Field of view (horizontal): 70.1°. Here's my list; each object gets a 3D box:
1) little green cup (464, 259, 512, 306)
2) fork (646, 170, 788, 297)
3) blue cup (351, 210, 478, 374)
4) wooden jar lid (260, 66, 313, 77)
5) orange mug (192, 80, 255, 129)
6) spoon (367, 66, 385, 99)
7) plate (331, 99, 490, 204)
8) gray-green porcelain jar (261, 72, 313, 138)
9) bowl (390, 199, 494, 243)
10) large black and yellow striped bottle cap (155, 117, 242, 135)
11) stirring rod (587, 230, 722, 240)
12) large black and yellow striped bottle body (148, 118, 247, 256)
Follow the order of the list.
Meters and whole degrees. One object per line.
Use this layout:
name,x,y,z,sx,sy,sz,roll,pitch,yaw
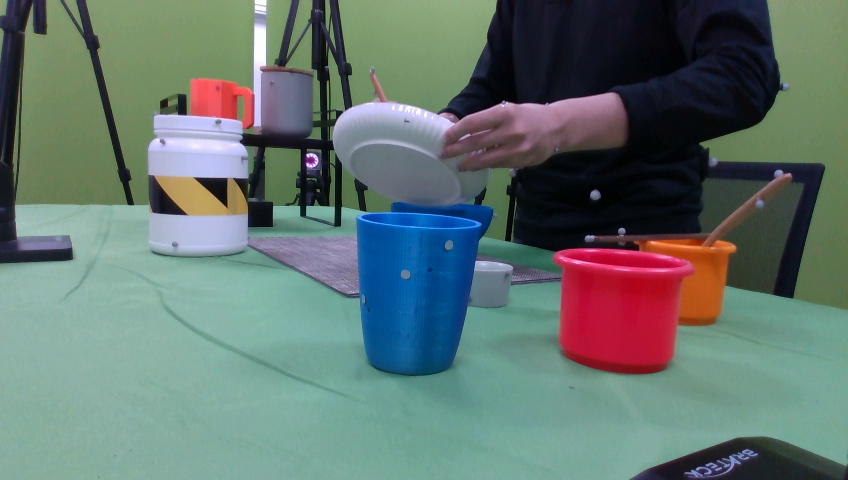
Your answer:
little green cup,0.057,0.043,0.611,0.061,0.038,0.061,3,8,0
fork,0.256,0.004,0.543,0.028,0.018,0.207,3,-36,-9
blue cup,-0.009,0.034,0.414,0.093,0.100,0.092,4,8,0
wooden jar lid,-0.283,-0.339,1.244,0.108,0.020,0.108,6,9,-1
orange mug,-0.389,-0.257,1.172,0.126,0.100,0.083,-1,6,9
spoon,-0.051,-0.162,0.865,0.021,0.193,0.041,-13,-12,-2
plate,-0.022,-0.098,0.768,0.209,0.038,0.209,14,-22,6
gray-green porcelain jar,-0.284,-0.276,1.253,0.106,0.126,0.106,2,8,0
bowl,0.024,-0.016,0.874,0.151,0.077,0.151,2,8,0
large black and yellow striped bottle cap,-0.313,-0.159,0.845,0.115,0.019,0.115,3,9,0
stirring rod,0.227,-0.006,0.585,0.177,0.006,0.014,-2,7,-28
large black and yellow striped bottle body,-0.318,-0.076,0.855,0.131,0.184,0.130,2,7,0
